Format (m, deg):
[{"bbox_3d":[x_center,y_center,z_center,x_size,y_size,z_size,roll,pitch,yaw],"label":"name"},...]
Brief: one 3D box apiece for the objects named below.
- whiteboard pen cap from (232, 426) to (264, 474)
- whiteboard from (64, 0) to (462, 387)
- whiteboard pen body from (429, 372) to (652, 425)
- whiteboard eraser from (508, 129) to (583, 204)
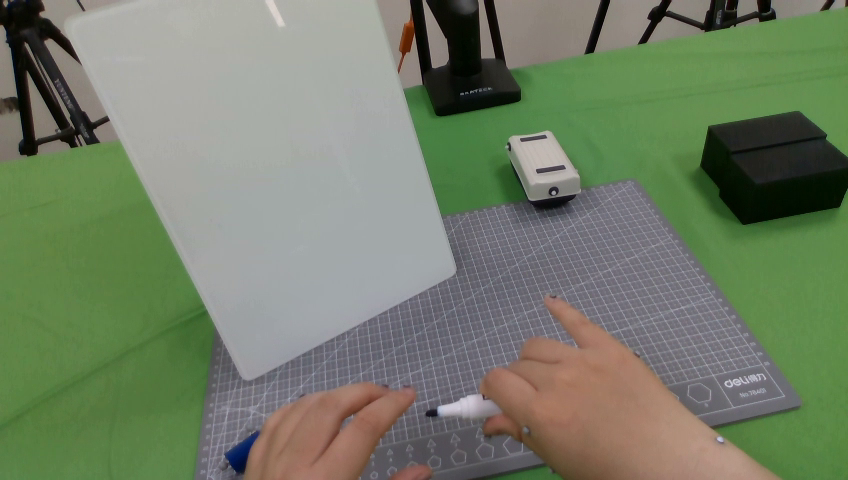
[{"bbox_3d":[-0.132,0.158,0.452,0.018,0.018,0.033,1,59,11],"label":"whiteboard pen cap"},{"bbox_3d":[-0.127,-0.072,0.541,0.217,0.308,0.142,-26,25,-18],"label":"whiteboard"},{"bbox_3d":[0.073,0.101,0.380,0.141,0.017,0.017,-9,41,-1],"label":"whiteboard pen body"},{"bbox_3d":[0.131,-0.081,0.664,0.055,0.042,0.111,-11,37,0],"label":"whiteboard eraser"}]
